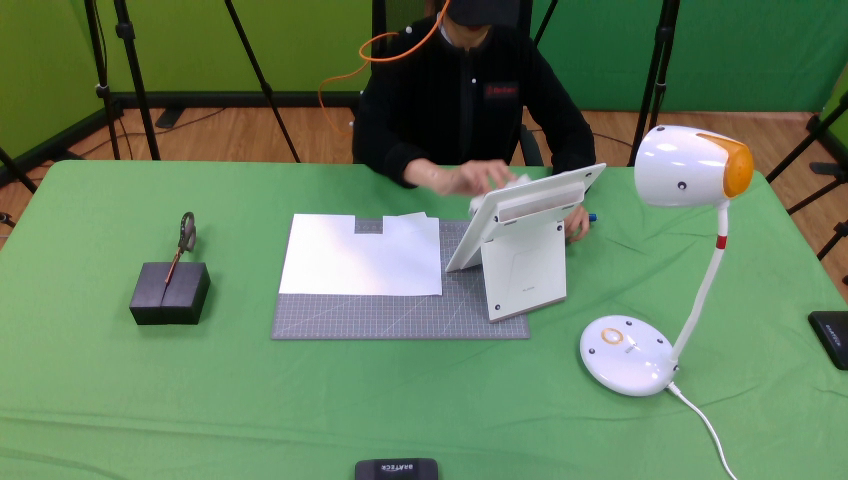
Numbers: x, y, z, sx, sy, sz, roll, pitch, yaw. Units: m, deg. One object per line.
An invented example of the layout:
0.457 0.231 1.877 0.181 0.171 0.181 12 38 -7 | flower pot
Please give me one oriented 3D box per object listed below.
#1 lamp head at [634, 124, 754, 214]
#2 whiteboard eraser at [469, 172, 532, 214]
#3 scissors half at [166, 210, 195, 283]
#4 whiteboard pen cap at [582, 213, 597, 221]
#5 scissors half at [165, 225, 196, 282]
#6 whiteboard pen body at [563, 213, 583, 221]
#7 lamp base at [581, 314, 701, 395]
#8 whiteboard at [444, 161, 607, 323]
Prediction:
0.351 -0.089 0.775 0.112 0.113 0.122 -30 30 -28 | lamp head
0.135 -0.073 1.044 0.113 0.056 0.041 -27 71 -8 | whiteboard eraser
-0.440 0.010 1.094 0.013 0.040 0.174 8 48 -9 | scissors half
0.342 -0.047 1.260 0.033 0.018 0.018 -2 46 -3 | whiteboard pen cap
-0.444 0.026 1.107 0.013 0.040 0.174 4 30 -5 | scissors half
0.282 -0.048 1.258 0.141 0.017 0.017 -2 46 -3 | whiteboard pen body
0.361 0.144 0.973 0.178 0.181 0.160 34 53 23 | lamp base
0.186 0.025 1.029 0.217 0.306 0.143 -14 68 -18 | whiteboard
